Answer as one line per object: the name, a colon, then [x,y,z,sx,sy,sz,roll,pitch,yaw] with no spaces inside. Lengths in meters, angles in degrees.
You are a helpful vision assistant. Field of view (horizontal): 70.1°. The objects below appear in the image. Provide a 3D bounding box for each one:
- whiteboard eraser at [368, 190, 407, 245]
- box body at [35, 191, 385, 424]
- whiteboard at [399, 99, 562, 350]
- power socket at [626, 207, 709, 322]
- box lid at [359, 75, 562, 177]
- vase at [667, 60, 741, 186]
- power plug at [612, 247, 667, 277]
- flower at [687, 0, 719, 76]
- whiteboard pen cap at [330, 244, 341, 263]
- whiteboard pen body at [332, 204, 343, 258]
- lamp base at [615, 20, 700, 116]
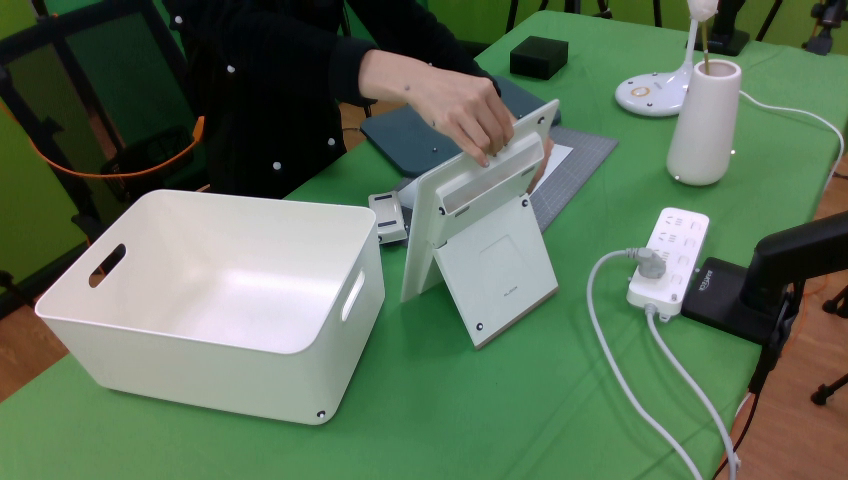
whiteboard eraser: [-0.061,-0.035,1.006,0.056,0.042,0.112,-9,40,-3]
box body: [-0.254,0.081,0.807,0.363,0.161,0.253,5,42,14]
whiteboard: [0.103,0.008,0.776,0.218,0.306,0.143,-30,66,-22]
power socket: [0.360,0.026,0.886,0.072,0.033,0.227,17,46,26]
box lid: [0.074,-0.249,1.266,0.373,0.015,0.261,-23,42,-18]
vase: [0.463,-0.189,0.994,0.098,0.201,0.097,-4,40,3]
power plug: [0.306,0.031,0.852,0.072,0.053,0.035,21,48,37]
flower: [0.436,-0.242,0.934,0.038,0.364,0.043,-24,49,8]
whiteboard pen cap: [-0.142,0.021,0.975,0.018,0.018,0.033,-7,40,0]
whiteboard pen body: [-0.146,-0.016,1.020,0.017,0.017,0.140,-7,40,0]
lamp base: [0.484,-0.364,1.211,0.180,0.181,0.159,-15,41,-14]
